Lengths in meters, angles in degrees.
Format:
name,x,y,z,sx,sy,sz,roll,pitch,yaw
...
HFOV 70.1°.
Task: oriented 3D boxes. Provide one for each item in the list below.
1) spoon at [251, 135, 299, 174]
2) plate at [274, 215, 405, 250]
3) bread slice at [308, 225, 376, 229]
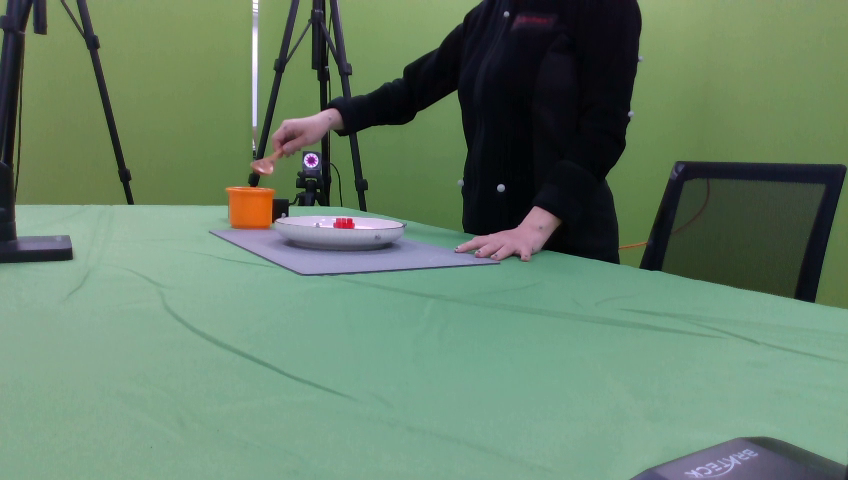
name,x,y,z,sx,sy,sz,roll,pitch,yaw
spoon,-0.289,-0.174,1.204,0.041,0.021,0.194,32,35,-3
plate,-0.136,-0.013,0.981,0.209,0.038,0.209,2,7,0
bread slice,-0.133,-0.011,0.974,0.135,0.018,0.106,-2,8,-33
